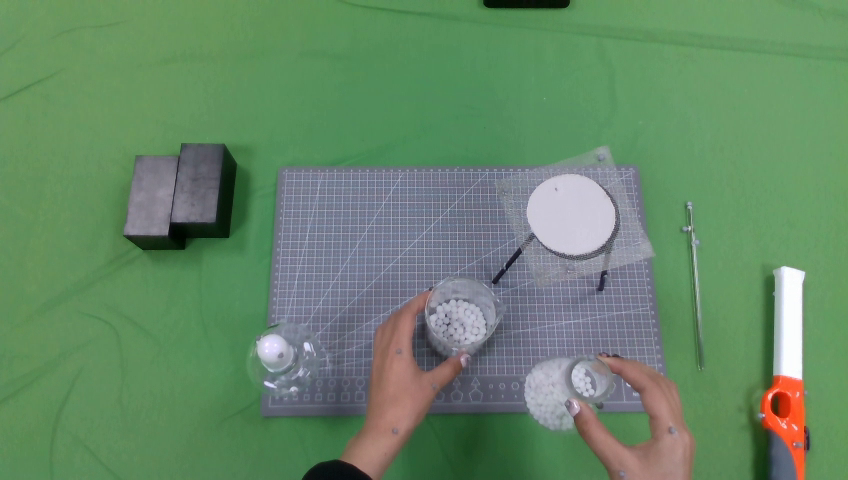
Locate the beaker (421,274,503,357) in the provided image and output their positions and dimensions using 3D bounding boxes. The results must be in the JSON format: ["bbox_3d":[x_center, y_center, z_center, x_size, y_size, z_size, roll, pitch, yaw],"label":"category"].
[{"bbox_3d":[0.038,0.084,0.648,0.084,0.101,0.073,-6,72,-3],"label":"beaker"}]

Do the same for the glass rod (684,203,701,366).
[{"bbox_3d":[0.315,0.048,0.715,0.008,0.008,0.198,4,71,0],"label":"glass rod"}]

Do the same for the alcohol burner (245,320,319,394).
[{"bbox_3d":[-0.149,0.118,0.625,0.078,0.119,0.077,1,73,-2],"label":"alcohol burner"}]

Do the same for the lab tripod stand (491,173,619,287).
[{"bbox_3d":[0.145,-0.003,0.660,0.148,0.132,0.147,0,73,0],"label":"lab tripod stand"}]

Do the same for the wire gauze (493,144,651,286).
[{"bbox_3d":[0.145,-0.026,0.597,0.125,0.011,0.120,-16,74,-5],"label":"wire gauze"}]

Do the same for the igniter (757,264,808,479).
[{"bbox_3d":[0.397,0.159,0.670,0.057,0.025,0.275,15,72,-7],"label":"igniter"}]

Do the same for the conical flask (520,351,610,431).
[{"bbox_3d":[0.131,0.129,0.540,0.075,0.122,0.075,0,70,0],"label":"conical flask"}]

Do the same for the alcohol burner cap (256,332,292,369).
[{"bbox_3d":[-0.148,0.105,0.591,0.034,0.048,0.033,2,69,-5],"label":"alcohol burner cap"}]
